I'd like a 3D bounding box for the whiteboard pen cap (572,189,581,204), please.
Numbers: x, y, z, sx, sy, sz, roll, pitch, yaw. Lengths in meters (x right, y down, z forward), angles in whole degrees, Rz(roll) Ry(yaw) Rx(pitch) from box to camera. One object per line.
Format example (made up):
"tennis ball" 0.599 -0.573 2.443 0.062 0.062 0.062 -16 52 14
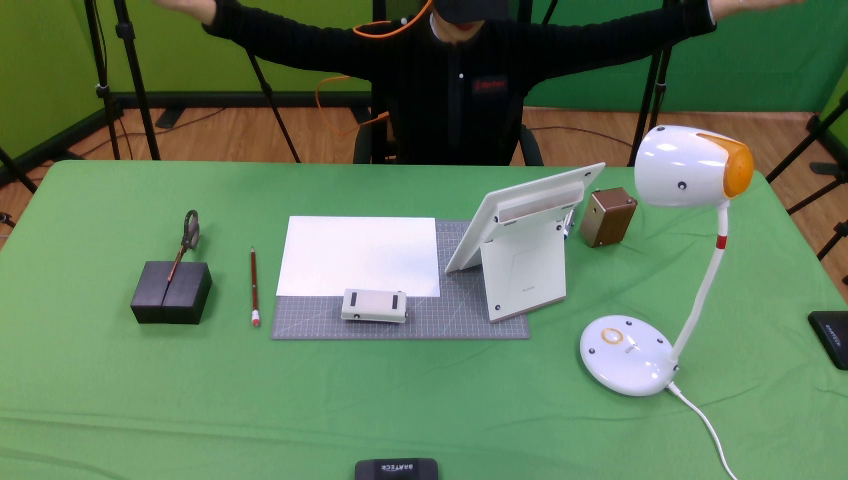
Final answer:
"whiteboard pen cap" 0.329 -0.093 1.307 0.018 0.018 0.033 18 51 13

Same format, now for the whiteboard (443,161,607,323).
"whiteboard" 0.185 0.025 1.029 0.217 0.306 0.143 -15 68 -18

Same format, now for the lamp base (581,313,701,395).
"lamp base" 0.361 0.144 0.972 0.178 0.181 0.160 34 53 23

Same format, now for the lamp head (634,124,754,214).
"lamp head" 0.351 -0.089 0.775 0.112 0.113 0.122 -30 30 -28

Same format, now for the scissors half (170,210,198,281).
"scissors half" -0.438 0.007 1.099 0.013 0.040 0.174 5 47 -6

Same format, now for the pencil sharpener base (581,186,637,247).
"pencil sharpener base" 0.369 -0.047 1.209 0.077 0.107 0.061 -11 47 -15

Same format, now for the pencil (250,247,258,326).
"pencil" -0.312 0.079 1.107 0.012 0.012 0.192 -7 46 -11

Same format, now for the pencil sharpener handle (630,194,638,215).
"pencil sharpener handle" 0.417 -0.068 1.215 0.031 0.068 0.036 -11 60 -15

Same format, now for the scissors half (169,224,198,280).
"scissors half" -0.442 0.023 1.111 0.013 0.040 0.174 9 29 -9

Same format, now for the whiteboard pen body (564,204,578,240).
"whiteboard pen body" 0.307 -0.052 1.270 0.017 0.017 0.140 17 49 12

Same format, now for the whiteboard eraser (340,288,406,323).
"whiteboard eraser" -0.088 0.117 1.060 0.113 0.042 0.055 3 45 -1
